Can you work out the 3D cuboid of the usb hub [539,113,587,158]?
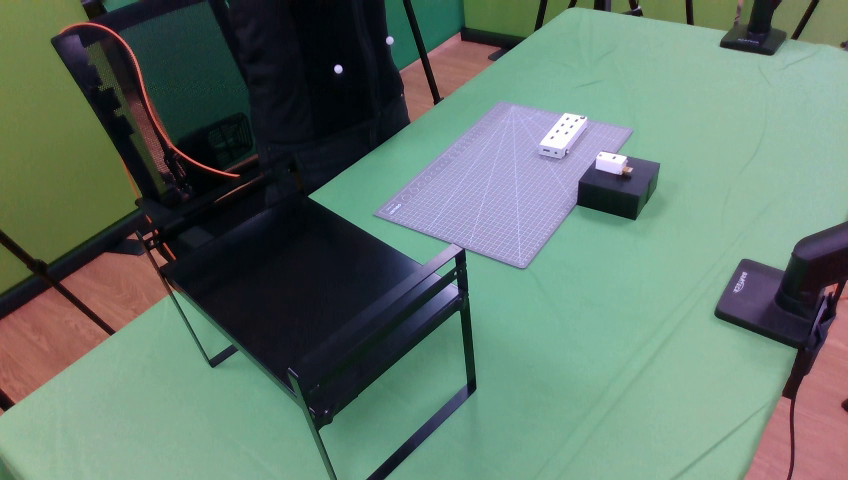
[{"bbox_3d":[0.269,-0.202,1.164,0.049,0.025,0.125,19,47,27],"label":"usb hub"}]

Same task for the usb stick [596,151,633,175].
[{"bbox_3d":[0.315,-0.125,0.994,0.059,0.027,0.021,23,47,27],"label":"usb stick"}]
